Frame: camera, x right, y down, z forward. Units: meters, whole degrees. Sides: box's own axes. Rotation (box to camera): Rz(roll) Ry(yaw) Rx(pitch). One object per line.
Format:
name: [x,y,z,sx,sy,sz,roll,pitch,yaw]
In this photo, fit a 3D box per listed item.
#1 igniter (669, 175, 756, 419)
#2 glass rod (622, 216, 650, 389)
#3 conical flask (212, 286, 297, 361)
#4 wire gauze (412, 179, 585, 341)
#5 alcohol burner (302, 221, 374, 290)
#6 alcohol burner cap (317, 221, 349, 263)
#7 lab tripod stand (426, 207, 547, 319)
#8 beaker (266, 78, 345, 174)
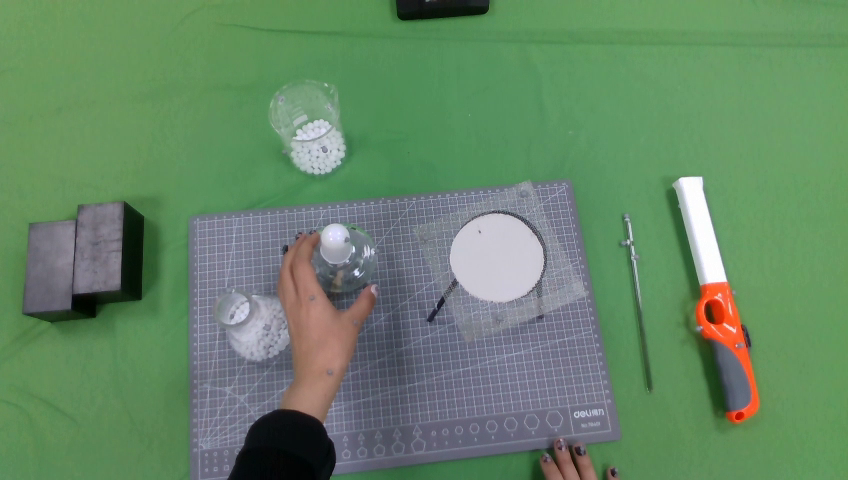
igniter: [0.322,0.057,0.679,0.057,0.025,0.275,-3,74,-13]
glass rod: [0.238,0.066,0.684,0.008,0.008,0.198,-1,73,-2]
conical flask: [-0.176,0.078,0.610,0.075,0.122,0.075,0,73,-1]
wire gauze: [0.068,0.017,0.557,0.125,0.011,0.120,-22,76,-7]
alcohol burner: [-0.092,0.011,0.636,0.078,0.119,0.077,1,72,-2]
alcohol burner cap: [-0.090,-0.001,0.602,0.034,0.048,0.033,3,66,-7]
lab tripod stand: [0.066,0.033,0.622,0.148,0.132,0.147,0,75,-1]
beaker: [-0.128,-0.126,0.686,0.073,0.101,0.084,42,77,10]
